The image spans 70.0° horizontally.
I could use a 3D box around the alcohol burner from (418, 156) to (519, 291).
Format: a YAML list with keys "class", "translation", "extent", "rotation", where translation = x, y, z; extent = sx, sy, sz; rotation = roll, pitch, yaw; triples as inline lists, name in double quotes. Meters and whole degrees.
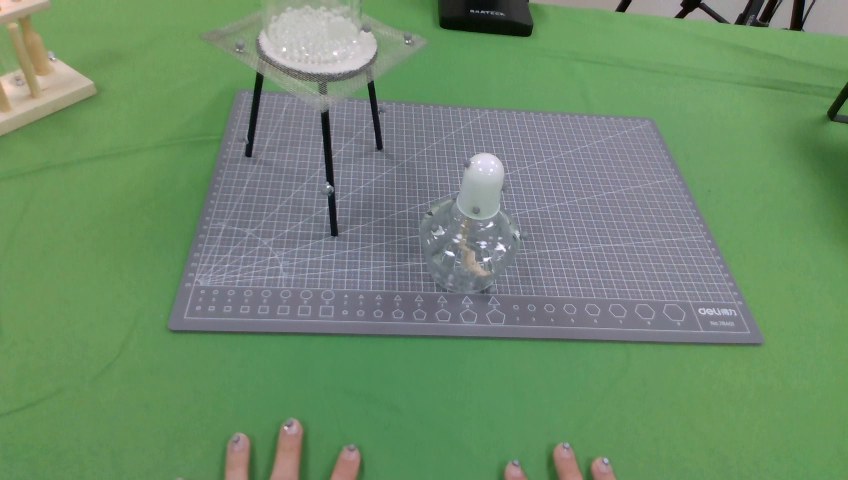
- class: "alcohol burner"
  translation: [0.036, -0.017, 0.452]
  extent: [0.078, 0.120, 0.077]
  rotation: [6, 46, -6]

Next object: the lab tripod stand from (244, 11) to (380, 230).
- class: "lab tripod stand"
  translation: [-0.086, -0.103, 0.498]
  extent: [0.148, 0.132, 0.147]
  rotation: [6, 47, -6]

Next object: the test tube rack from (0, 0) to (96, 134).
- class: "test tube rack"
  translation: [-0.415, -0.124, 0.503]
  extent: [0.066, 0.086, 0.242]
  rotation: [32, 50, 20]

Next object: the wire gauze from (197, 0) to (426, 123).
- class: "wire gauze"
  translation: [-0.081, -0.147, 0.451]
  extent: [0.124, 0.011, 0.121]
  rotation: [34, 54, 16]

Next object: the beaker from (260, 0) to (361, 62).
- class: "beaker"
  translation: [-0.080, -0.181, 0.415]
  extent: [0.073, 0.101, 0.084]
  rotation: [33, 52, 20]

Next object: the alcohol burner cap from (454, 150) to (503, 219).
- class: "alcohol burner cap"
  translation: [0.040, -0.041, 0.424]
  extent: [0.034, 0.048, 0.033]
  rotation: [3, 51, -3]

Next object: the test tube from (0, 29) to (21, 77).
- class: "test tube"
  translation: [-0.384, -0.204, 0.515]
  extent: [0.017, 0.151, 0.017]
  rotation: [2, 50, -2]
